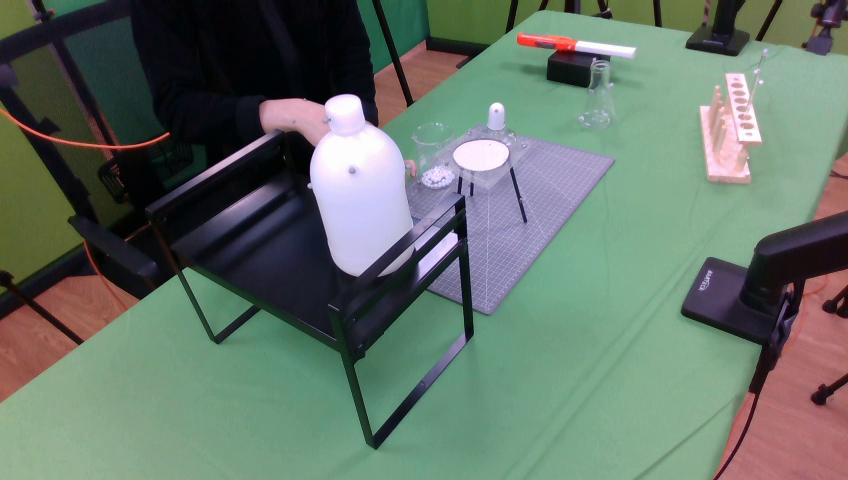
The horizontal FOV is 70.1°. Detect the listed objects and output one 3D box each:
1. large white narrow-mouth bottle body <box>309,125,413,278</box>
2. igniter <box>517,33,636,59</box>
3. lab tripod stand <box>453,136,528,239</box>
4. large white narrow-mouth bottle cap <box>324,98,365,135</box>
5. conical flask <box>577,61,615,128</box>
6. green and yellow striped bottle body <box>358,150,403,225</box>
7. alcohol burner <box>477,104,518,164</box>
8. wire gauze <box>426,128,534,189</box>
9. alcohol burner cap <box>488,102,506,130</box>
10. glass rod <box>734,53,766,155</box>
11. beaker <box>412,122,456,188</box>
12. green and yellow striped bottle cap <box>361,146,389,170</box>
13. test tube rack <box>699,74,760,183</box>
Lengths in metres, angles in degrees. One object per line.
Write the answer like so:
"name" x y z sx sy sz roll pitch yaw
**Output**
"large white narrow-mouth bottle body" -0.068 -0.057 0.644 0.102 0.195 0.101 -3 42 4
"igniter" 0.336 -0.441 1.369 0.275 0.025 0.057 16 41 23
"lab tripod stand" 0.094 -0.086 0.974 0.148 0.132 0.147 -4 43 4
"large white narrow-mouth bottle cap" -0.076 -0.120 0.585 0.038 0.024 0.037 -3 42 3
"conical flask" 0.343 -0.288 1.188 0.075 0.122 0.075 -4 41 4
"green and yellow striped bottle body" -0.073 -0.090 1.012 0.063 0.120 0.063 -4 41 4
"alcohol burner" 0.135 -0.200 1.117 0.078 0.119 0.077 -4 43 4
"wire gauze" 0.086 -0.131 0.924 0.124 0.011 0.122 26 52 33
"alcohol burner cap" 0.133 -0.227 1.092 0.034 0.048 0.033 -1 47 2
"glass rod" 0.540 -0.220 1.007 0.008 0.201 0.008 -5 46 6
"beaker" 0.022 -0.152 1.088 0.073 0.100 0.084 13 44 21
"green and yellow striped bottle cap" -0.080 -0.133 0.976 0.045 0.020 0.045 -3 41 3
"test tube rack" 0.547 -0.208 1.094 0.066 0.085 0.242 6 42 15
